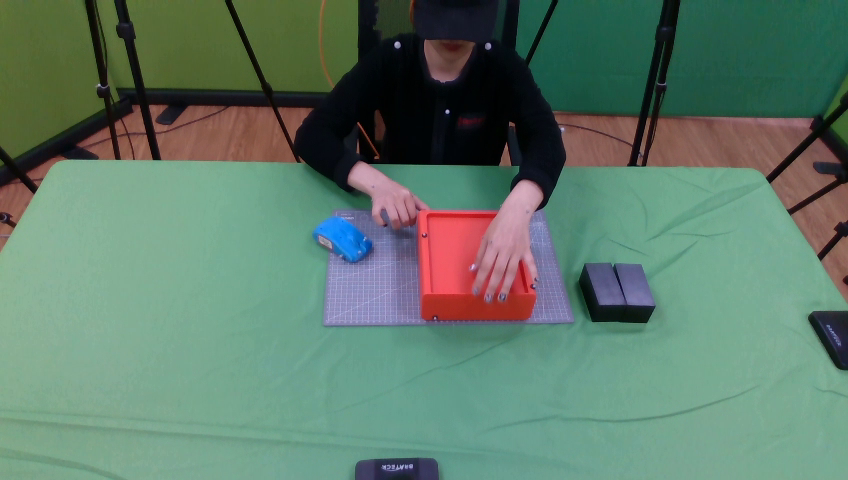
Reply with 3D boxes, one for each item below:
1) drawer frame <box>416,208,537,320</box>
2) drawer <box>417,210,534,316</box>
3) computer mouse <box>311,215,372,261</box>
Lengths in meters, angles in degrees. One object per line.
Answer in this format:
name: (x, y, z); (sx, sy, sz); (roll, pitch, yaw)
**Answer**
drawer frame: (0.089, 0.040, 1.120); (0.202, 0.083, 0.212); (0, 47, -5)
drawer: (0.089, 0.040, 1.123); (0.195, 0.073, 0.210); (1, 47, -4)
computer mouse: (-0.160, -0.006, 1.178); (0.117, 0.041, 0.062); (32, 50, 19)
